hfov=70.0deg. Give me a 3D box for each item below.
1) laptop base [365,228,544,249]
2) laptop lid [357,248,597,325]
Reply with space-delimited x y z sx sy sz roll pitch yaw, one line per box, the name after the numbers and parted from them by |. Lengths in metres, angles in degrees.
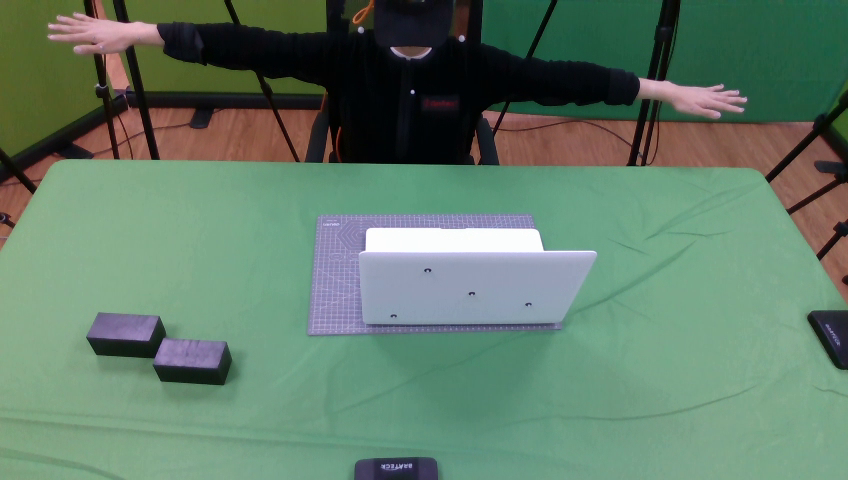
0.064 0.063 1.143 0.355 0.023 0.234 0 42 -4 | laptop base
0.074 0.080 0.962 0.357 0.243 0.013 1 56 -5 | laptop lid
